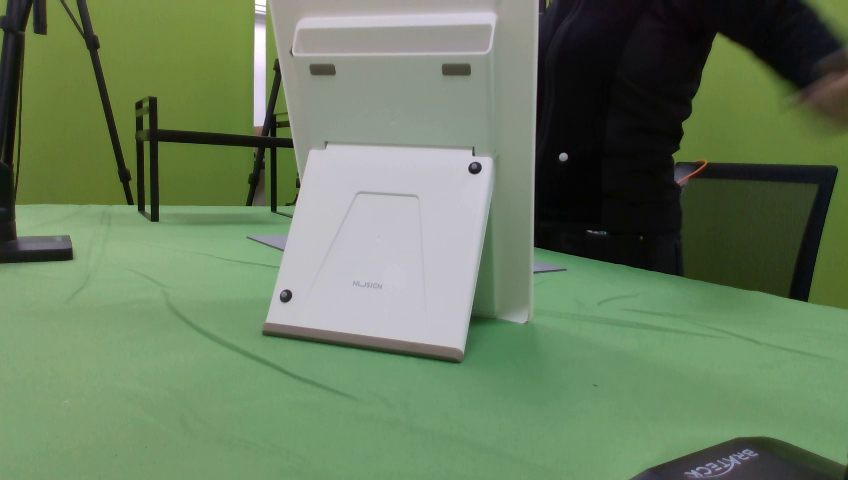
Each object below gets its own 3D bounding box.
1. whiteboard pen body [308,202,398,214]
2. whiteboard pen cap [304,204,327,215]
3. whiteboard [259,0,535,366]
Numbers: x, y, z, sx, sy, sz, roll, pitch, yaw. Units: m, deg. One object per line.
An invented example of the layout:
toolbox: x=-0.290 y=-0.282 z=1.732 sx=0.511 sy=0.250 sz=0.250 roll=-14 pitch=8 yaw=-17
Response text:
whiteboard pen body: x=-0.108 y=-0.049 z=0.932 sx=0.141 sy=0.017 sz=0.017 roll=-3 pitch=9 yaw=-21
whiteboard pen cap: x=-0.163 y=-0.046 z=0.911 sx=0.033 sy=0.018 sz=0.018 roll=-3 pitch=9 yaw=-20
whiteboard: x=-0.037 y=-0.040 z=0.457 sx=0.216 sy=0.305 sz=0.144 roll=5 pitch=28 yaw=19
